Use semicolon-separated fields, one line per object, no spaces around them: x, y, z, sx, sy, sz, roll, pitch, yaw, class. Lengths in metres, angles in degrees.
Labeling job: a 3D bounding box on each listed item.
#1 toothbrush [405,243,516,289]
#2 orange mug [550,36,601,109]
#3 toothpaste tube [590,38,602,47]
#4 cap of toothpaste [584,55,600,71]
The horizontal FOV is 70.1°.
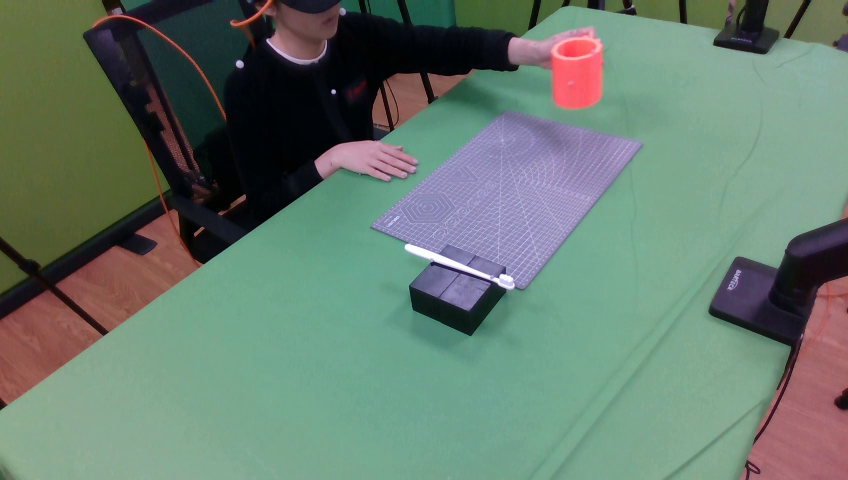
0.048;0.034;0.859;0.180;0.017;0.014;19;51;28;toothbrush
0.281;-0.314;1.104;0.083;0.101;0.126;8;50;24;orange mug
0.398;-0.449;1.433;0.055;0.034;0.164;6;38;8;toothpaste tube
0.381;-0.403;1.372;0.037;0.037;0.011;2;38;10;cap of toothpaste
